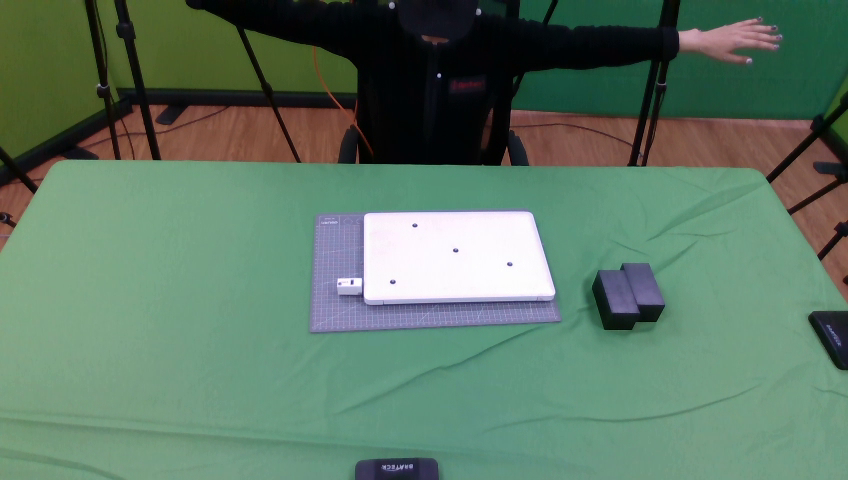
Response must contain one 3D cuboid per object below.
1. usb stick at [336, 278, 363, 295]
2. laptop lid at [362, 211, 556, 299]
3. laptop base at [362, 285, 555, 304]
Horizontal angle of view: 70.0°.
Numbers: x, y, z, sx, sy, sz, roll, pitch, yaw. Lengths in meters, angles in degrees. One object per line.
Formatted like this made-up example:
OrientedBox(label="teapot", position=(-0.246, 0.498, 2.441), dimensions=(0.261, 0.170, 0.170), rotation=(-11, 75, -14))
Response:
OrientedBox(label="usb stick", position=(-0.128, 0.083, 1.093), dimensions=(0.059, 0.027, 0.021), rotation=(2, 44, -5))
OrientedBox(label="laptop lid", position=(0.059, 0.022, 1.168), dimensions=(0.357, 0.013, 0.240), rotation=(0, 44, -4))
OrientedBox(label="laptop base", position=(0.059, 0.032, 1.174), dimensions=(0.355, 0.023, 0.234), rotation=(-1, 43, -5))
